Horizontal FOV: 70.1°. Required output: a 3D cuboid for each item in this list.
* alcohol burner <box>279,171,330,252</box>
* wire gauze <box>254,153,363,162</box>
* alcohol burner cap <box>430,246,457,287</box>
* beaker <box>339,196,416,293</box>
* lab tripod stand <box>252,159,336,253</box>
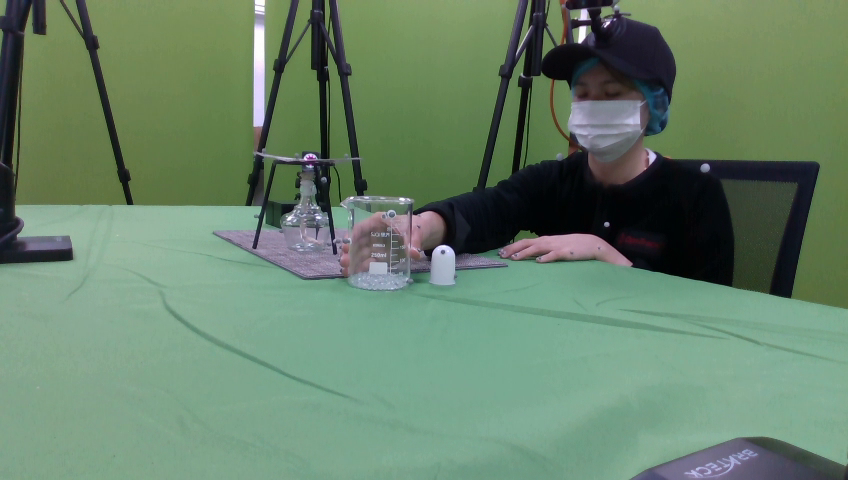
[{"bbox_3d":[-0.174,-0.042,0.896,0.078,0.119,0.078,3,5,0],"label":"alcohol burner"},{"bbox_3d":[-0.172,-0.119,0.891,0.122,0.011,0.124,-2,7,-38],"label":"wire gauze"},{"bbox_3d":[0.024,0.030,0.705,0.034,0.048,0.034,2,7,0],"label":"alcohol burner cap"},{"bbox_3d":[-0.051,0.003,0.662,0.084,0.100,0.074,0,7,-15],"label":"beaker"},{"bbox_3d":[-0.180,-0.053,0.900,0.148,0.131,0.148,1,6,0],"label":"lab tripod stand"}]
